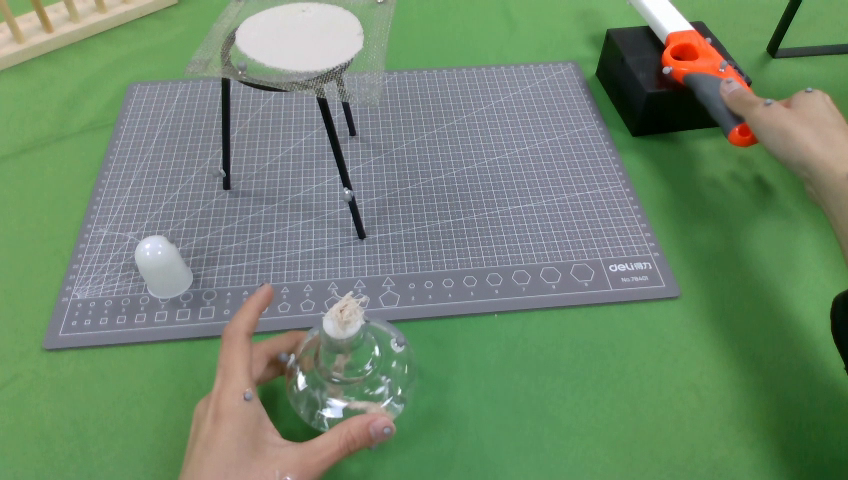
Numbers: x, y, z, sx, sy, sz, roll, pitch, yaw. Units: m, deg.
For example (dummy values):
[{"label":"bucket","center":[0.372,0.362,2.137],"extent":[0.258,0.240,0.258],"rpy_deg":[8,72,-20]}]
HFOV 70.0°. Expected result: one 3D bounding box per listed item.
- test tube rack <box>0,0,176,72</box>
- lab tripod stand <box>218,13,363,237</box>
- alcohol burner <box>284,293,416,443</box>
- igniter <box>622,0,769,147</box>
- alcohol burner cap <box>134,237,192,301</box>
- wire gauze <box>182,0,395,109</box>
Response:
[{"label":"test tube rack","center":[-0.394,-0.252,0.622],"extent":[0.242,0.086,0.066],"rpy_deg":[-35,60,-26]},{"label":"lab tripod stand","center":[-0.091,-0.088,0.459],"extent":[0.148,0.132,0.147],"rpy_deg":[2,50,-2]},{"label":"alcohol burner","center":[-0.044,0.069,0.348],"extent":[0.078,0.120,0.077],"rpy_deg":[0,51,1]},{"label":"igniter","center":[0.233,-0.176,0.552],"extent":[0.057,0.025,0.273],"rpy_deg":[-9,49,-4]},{"label":"alcohol burner cap","center":[-0.187,0.018,0.430],"extent":[0.034,0.048,0.033],"rpy_deg":[2,50,-2]},{"label":"wire gauze","center":[-0.085,-0.137,0.412],"extent":[0.125,0.011,0.120],"rpy_deg":[6,50,1]}]
